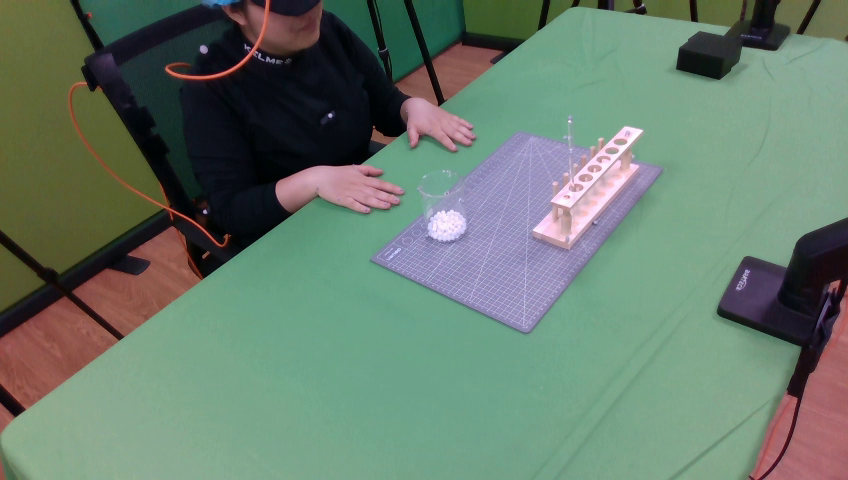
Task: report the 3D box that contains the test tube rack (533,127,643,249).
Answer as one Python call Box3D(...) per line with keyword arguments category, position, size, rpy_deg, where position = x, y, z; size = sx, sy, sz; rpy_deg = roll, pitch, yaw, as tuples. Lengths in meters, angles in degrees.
Box3D(category="test tube rack", position=(0.271, -0.094, 0.990), size=(0.066, 0.085, 0.243), rpy_deg=(23, 50, 34))

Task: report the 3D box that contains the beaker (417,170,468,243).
Box3D(category="beaker", position=(0.034, -0.054, 0.976), size=(0.073, 0.101, 0.084), rpy_deg=(8, 43, 20))

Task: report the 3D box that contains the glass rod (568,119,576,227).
Box3D(category="glass rod", position=(0.218, -0.093, 0.894), size=(0.008, 0.201, 0.008), rpy_deg=(-8, 43, 8))
